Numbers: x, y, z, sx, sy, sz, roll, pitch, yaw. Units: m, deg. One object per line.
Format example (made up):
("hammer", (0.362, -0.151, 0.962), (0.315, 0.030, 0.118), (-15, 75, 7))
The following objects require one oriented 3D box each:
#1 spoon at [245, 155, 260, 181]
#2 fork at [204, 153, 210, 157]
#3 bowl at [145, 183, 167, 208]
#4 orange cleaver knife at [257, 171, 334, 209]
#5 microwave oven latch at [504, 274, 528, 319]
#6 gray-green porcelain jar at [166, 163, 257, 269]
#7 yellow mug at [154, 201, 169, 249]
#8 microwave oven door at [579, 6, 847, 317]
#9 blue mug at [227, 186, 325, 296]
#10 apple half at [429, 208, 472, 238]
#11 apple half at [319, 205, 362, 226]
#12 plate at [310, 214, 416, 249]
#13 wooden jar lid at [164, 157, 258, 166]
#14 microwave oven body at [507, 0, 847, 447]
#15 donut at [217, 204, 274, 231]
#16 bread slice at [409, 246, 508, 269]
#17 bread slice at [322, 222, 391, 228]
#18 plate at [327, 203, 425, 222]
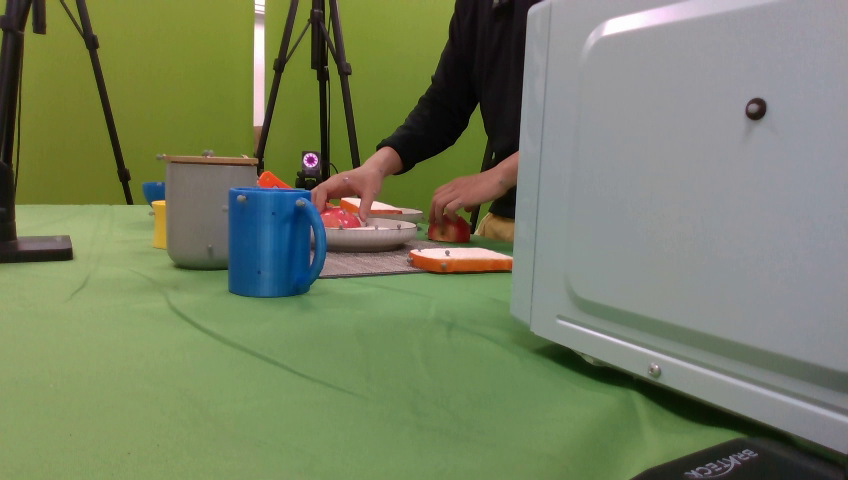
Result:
("spoon", (-0.421, -0.150, 1.540), (0.042, 0.021, 0.193), (-5, 55, -37))
("fork", (-0.480, -0.134, 1.411), (0.028, 0.018, 0.207), (1, -35, 0))
("bowl", (-0.459, -0.069, 1.175), (0.151, 0.077, 0.151), (3, 7, 0))
("orange cleaver knife", (-0.283, -0.087, 1.343), (0.212, 0.077, 0.012), (24, -16, -41))
("microwave oven latch", (0.100, 0.041, 0.471), (0.079, 0.029, 0.030), (-1, 7, -27))
("gray-green porcelain jar", (-0.263, -0.031, 0.754), (0.106, 0.126, 0.106), (2, 7, 0))
("yellow mug", (-0.337, -0.022, 0.899), (0.130, 0.064, 0.100), (8, 9, 34))
("microwave oven door", (0.294, -0.067, 0.570), (0.358, 0.243, 0.039), (-3, 9, -31))
("blue mug", (-0.146, 0.000, 0.618), (0.116, 0.106, 0.083), (7, 9, 32))
("apple half", (0.047, -0.032, 1.117), (0.080, 0.053, 0.075), (4, 9, 24))
("apple half", (-0.141, -0.042, 1.001), (0.081, 0.033, 0.081), (-1, 8, 1))
("plate", (-0.116, -0.014, 0.968), (0.208, 0.039, 0.207), (2, 8, 0))
("wooden jar lid", (-0.261, -0.093, 0.746), (0.108, 0.020, 0.108), (0, 9, 0))
("microwave oven body", (0.331, -0.042, 0.425), (0.444, 0.260, 0.324), (-2, 8, -31))
("donut", (-0.318, -0.038, 1.080), (0.099, 0.048, 0.099), (3, 7, 0))
("bread slice", (0.048, 0.022, 0.816), (0.132, 0.019, 0.104), (0, 7, -24))
("bread slice", (-0.116, -0.015, 0.974), (0.135, 0.018, 0.106), (-5, 11, -42))
("plate", (-0.102, -0.053, 1.299), (0.209, 0.038, 0.209), (2, 8, 0))
